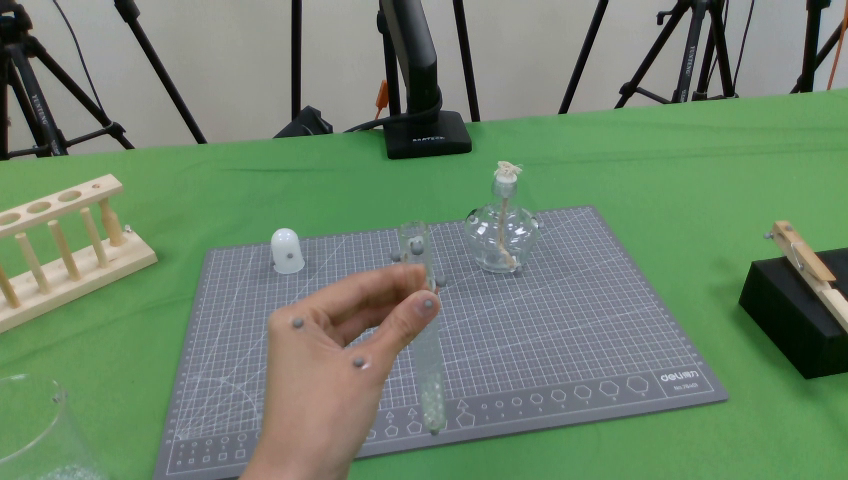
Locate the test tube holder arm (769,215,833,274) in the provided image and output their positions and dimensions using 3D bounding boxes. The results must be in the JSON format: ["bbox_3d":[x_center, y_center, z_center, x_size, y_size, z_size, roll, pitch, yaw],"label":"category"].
[{"bbox_3d":[0.337,0.005,0.543,0.015,0.010,0.087,-1,37,1],"label":"test tube holder arm"}]

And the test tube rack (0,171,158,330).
[{"bbox_3d":[-0.402,0.024,0.592,0.242,0.086,0.066,-30,45,-33],"label":"test tube rack"}]

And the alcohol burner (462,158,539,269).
[{"bbox_3d":[0.078,-0.030,0.611,0.078,0.120,0.077,0,36,0],"label":"alcohol burner"}]

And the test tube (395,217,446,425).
[{"bbox_3d":[0.000,0.053,0.340,0.017,0.151,0.017,-4,35,3],"label":"test tube"}]

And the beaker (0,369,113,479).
[{"bbox_3d":[-0.262,0.148,0.403,0.084,0.101,0.073,-2,36,1],"label":"beaker"}]

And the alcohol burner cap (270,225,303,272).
[{"bbox_3d":[-0.146,0.007,0.634,0.034,0.048,0.033,-2,36,2],"label":"alcohol burner cap"}]

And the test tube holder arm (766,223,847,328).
[{"bbox_3d":[0.337,0.036,0.511,0.015,0.013,0.176,-1,37,1],"label":"test tube holder arm"}]
